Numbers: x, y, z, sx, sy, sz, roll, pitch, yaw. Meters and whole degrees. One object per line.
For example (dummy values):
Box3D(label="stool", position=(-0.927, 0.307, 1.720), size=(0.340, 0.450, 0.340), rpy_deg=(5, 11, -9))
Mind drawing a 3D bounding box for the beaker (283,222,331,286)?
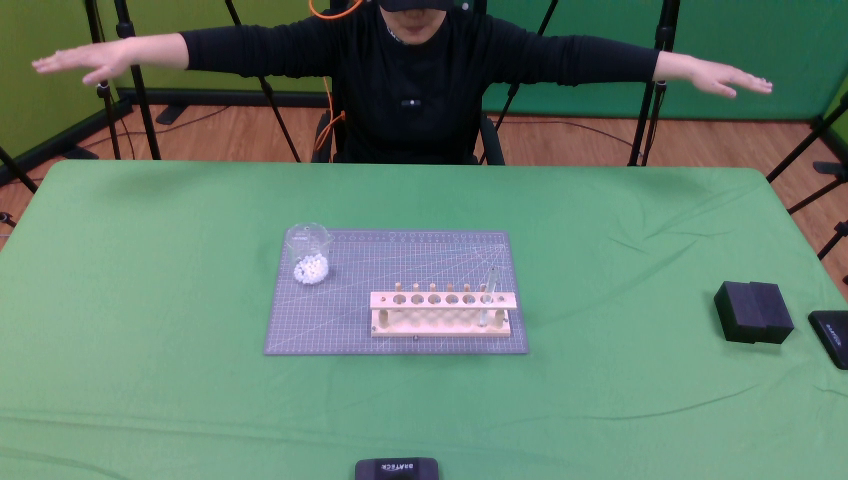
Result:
Box3D(label="beaker", position=(-0.208, 0.028, 1.098), size=(0.084, 0.101, 0.073), rpy_deg=(2, 46, -4))

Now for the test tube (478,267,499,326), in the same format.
Box3D(label="test tube", position=(0.105, 0.096, 0.997), size=(0.017, 0.151, 0.017), rpy_deg=(2, 49, -2))

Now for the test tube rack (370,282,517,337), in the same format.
Box3D(label="test tube rack", position=(0.030, 0.116, 1.041), size=(0.242, 0.085, 0.066), rpy_deg=(1, 46, -4))
